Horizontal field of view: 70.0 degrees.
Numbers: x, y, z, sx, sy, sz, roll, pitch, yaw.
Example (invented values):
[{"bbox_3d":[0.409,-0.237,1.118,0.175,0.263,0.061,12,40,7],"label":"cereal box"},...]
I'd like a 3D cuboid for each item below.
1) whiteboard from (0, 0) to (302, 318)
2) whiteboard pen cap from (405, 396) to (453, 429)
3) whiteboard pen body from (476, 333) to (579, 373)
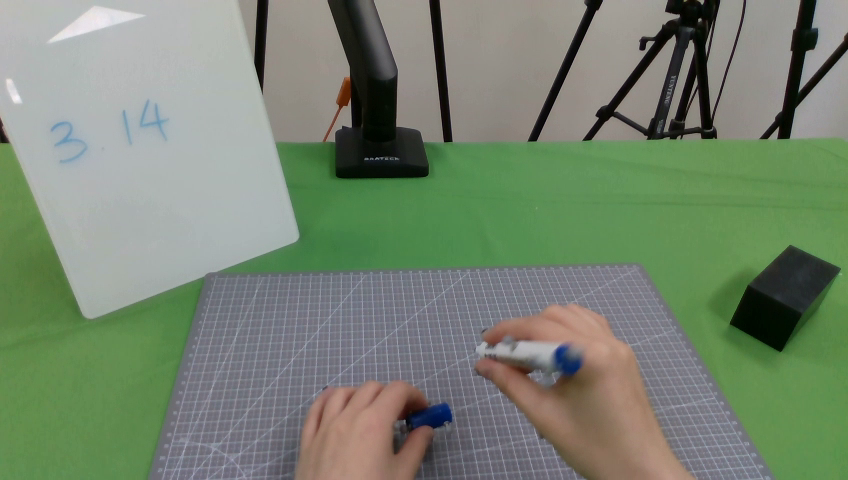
[{"bbox_3d":[-0.280,-0.121,0.592,0.217,0.307,0.142,-24,26,-31],"label":"whiteboard"},{"bbox_3d":[0.004,0.127,0.447,0.033,0.018,0.018,-13,40,-19],"label":"whiteboard pen cap"},{"bbox_3d":[0.055,0.066,0.365,0.017,0.017,0.140,-7,-5,-14],"label":"whiteboard pen body"}]
